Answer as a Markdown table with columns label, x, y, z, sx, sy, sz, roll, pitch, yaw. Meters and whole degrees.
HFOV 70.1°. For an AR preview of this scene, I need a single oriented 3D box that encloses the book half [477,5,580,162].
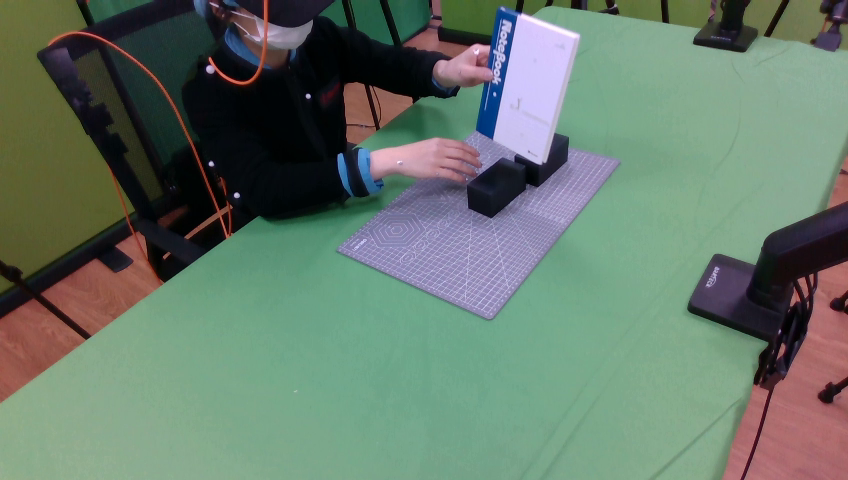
| label | x | y | z | sx | sy | sz | roll | pitch | yaw |
| --- | --- | --- | --- | --- | --- | --- | --- | --- | --- |
| book half | 0.158 | -0.244 | 0.961 | 0.147 | 0.210 | 0.016 | 34 | 43 | 31 |

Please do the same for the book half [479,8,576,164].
| label | x | y | z | sx | sy | sz | roll | pitch | yaw |
| --- | --- | --- | --- | --- | --- | --- | --- | --- | --- |
| book half | 0.155 | -0.240 | 0.956 | 0.007 | 0.210 | 0.142 | -26 | 48 | -38 |
